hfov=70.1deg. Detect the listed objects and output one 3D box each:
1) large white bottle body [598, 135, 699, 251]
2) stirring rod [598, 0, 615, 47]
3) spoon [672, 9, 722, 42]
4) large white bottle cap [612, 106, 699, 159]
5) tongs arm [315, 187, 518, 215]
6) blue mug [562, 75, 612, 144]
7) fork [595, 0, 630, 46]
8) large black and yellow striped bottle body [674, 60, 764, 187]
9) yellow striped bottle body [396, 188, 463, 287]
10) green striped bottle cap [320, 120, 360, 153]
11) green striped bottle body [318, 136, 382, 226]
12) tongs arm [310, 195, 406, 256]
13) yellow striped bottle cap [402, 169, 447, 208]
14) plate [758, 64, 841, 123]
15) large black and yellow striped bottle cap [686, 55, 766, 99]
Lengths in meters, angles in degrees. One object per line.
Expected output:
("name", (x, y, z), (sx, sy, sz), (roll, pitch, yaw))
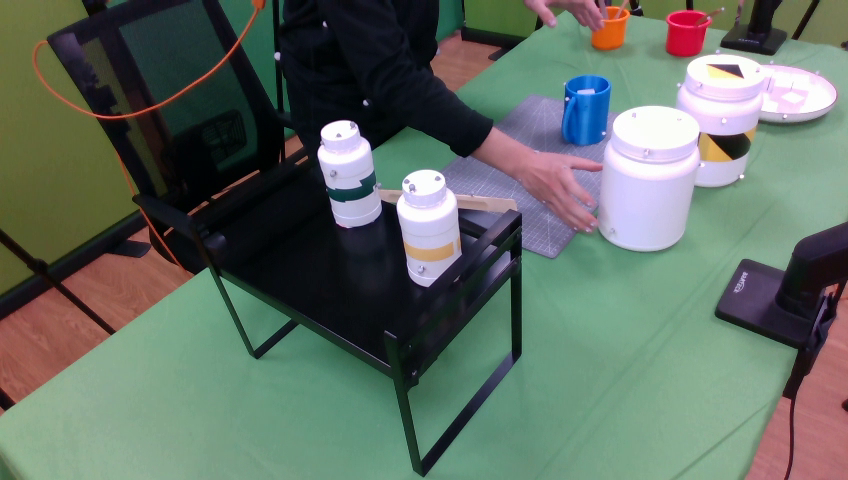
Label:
("large white bottle body", (0.334, -0.089, 0.906), (0.130, 0.185, 0.130), (-5, 41, 5))
("stirring rod", (0.437, -0.551, 1.462), (0.014, 0.006, 0.175), (-11, 83, 1))
("spoon", (0.606, -0.476, 1.345), (0.042, 0.021, 0.193), (-6, -3, -2))
("large white bottle cap", (0.325, -0.153, 0.850), (0.115, 0.018, 0.114), (-4, 41, 4))
("tongs arm", (-0.028, -0.060, 0.988), (0.382, 0.027, 0.051), (10, 45, 36))
("blue mug", (0.298, -0.239, 1.143), (0.117, 0.106, 0.081), (-37, 48, -28))
("fork", (0.480, -0.556, 1.453), (0.028, 0.019, 0.207), (41, 103, 40))
("large black and yellow striped bottle body", (0.482, -0.196, 1.008), (0.131, 0.185, 0.130), (-4, 41, 4))
("yellow striped bottle body", (0.006, -0.013, 0.638), (0.063, 0.121, 0.062), (-5, 41, 5))
("green striped bottle cap", (-0.097, -0.120, 0.699), (0.044, 0.020, 0.044), (-3, 41, 3))
("green striped bottle body", (-0.090, -0.080, 0.733), (0.063, 0.120, 0.063), (-4, 41, 4))
("tongs arm", (-0.078, -0.013, 0.944), (0.028, 0.028, 0.384), (-42, 39, -23))
("yellow striped bottle cap", (0.001, -0.052, 0.604), (0.044, 0.019, 0.044), (-5, 43, 5))
("plate", (0.695, -0.283, 1.189), (0.207, 0.039, 0.206), (-4, 40, 4))
("large black and yellow striped bottle cap", (0.474, -0.258, 0.952), (0.115, 0.019, 0.114), (-5, 41, 5))
